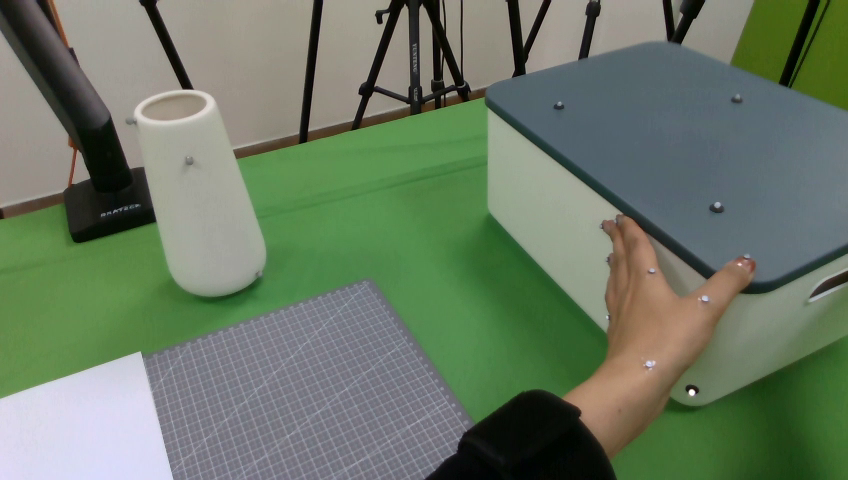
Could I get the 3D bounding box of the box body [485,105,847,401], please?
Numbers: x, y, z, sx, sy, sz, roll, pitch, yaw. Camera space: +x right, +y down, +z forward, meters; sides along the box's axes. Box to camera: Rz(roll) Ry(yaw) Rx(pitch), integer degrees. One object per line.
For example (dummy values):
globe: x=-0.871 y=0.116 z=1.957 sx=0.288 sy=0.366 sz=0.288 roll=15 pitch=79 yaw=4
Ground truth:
box body: x=0.250 y=-0.039 z=0.621 sx=0.255 sy=0.162 sz=0.359 roll=-18 pitch=42 yaw=-20

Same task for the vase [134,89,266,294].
vase: x=-0.220 y=-0.043 z=0.597 sx=0.098 sy=0.202 sz=0.097 roll=-1 pitch=38 yaw=1

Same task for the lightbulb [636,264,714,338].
lightbulb: x=0.235 y=0.053 z=0.584 sx=0.059 sy=0.060 sz=0.107 roll=-3 pitch=22 yaw=-4

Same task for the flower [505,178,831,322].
flower: x=0.255 y=0.009 z=0.671 sx=0.359 sy=0.038 sz=0.044 roll=26 pitch=41 yaw=23

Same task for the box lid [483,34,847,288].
box lid: x=0.249 y=-0.104 z=0.566 sx=0.264 sy=0.015 sz=0.367 roll=-21 pitch=42 yaw=-17
